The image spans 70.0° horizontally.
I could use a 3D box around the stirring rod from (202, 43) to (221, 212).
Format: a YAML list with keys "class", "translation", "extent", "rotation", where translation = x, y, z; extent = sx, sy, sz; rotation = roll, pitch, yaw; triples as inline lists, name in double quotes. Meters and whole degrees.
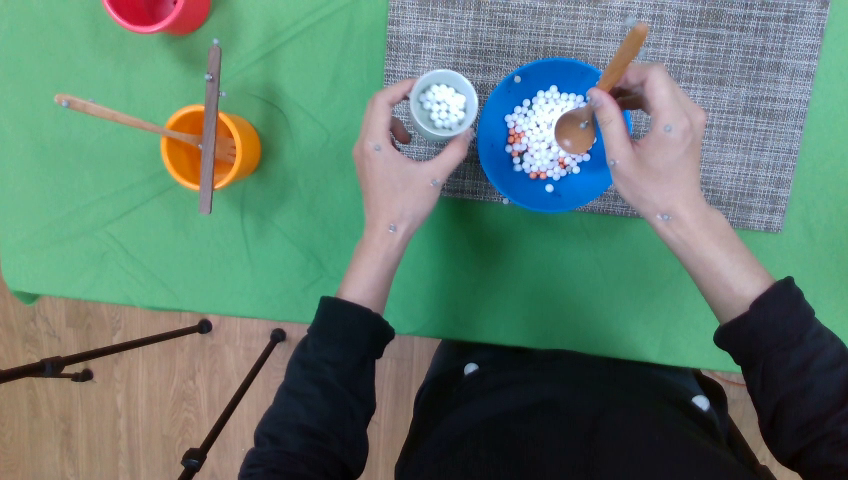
- class: "stirring rod"
  translation: [-0.224, -0.116, 0.637]
  extent: [0.014, 0.006, 0.176]
  rotation: [8, 103, 6]

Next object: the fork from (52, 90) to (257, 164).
- class: "fork"
  translation: [-0.277, -0.119, 0.646]
  extent: [0.209, 0.018, 0.028]
  rotation: [14, 110, -40]

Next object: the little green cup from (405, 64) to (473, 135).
- class: "little green cup"
  translation: [0.011, -0.126, 0.557]
  extent: [0.062, 0.038, 0.061]
  rotation: [1, 85, -8]

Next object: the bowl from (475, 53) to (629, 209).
- class: "bowl"
  translation: [0.129, -0.112, 0.630]
  extent: [0.151, 0.076, 0.152]
  rotation: [1, 102, 7]

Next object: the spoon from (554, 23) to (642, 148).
- class: "spoon"
  translation: [0.142, -0.120, 0.503]
  extent: [0.041, 0.194, 0.021]
  rotation: [42, 83, 7]
